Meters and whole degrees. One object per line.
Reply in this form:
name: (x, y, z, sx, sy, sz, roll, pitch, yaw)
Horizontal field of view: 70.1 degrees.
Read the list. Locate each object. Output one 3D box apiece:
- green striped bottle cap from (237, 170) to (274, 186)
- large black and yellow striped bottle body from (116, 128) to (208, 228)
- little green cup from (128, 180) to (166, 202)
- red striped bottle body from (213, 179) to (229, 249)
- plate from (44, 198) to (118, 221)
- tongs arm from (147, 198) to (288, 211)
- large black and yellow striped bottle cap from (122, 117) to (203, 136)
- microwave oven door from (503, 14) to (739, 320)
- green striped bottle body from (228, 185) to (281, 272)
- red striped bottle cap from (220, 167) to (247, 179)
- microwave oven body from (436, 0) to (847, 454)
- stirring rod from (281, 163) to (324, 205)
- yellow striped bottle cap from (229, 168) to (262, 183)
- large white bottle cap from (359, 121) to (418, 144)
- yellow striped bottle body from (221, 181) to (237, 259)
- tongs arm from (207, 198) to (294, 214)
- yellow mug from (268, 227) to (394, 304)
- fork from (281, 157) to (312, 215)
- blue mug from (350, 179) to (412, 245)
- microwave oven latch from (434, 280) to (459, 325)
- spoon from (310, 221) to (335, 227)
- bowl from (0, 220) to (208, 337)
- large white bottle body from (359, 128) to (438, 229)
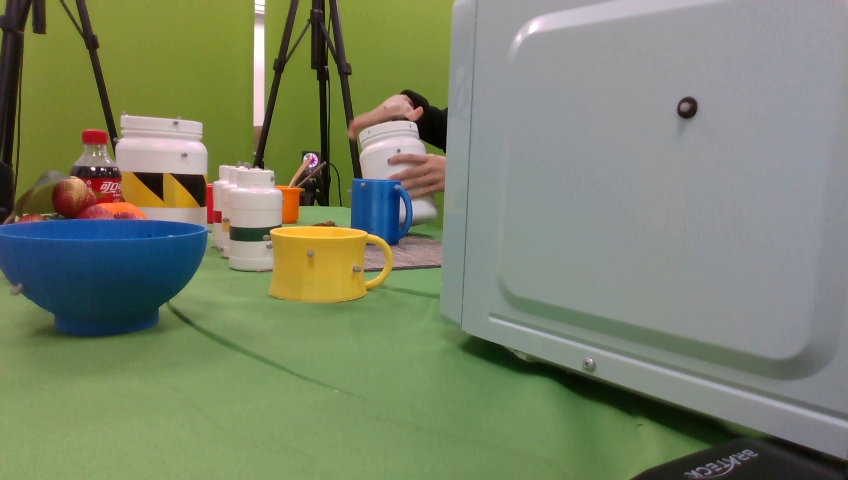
green striped bottle cap: (-0.205, -0.075, 0.737, 0.044, 0.020, 0.044, 1, 6, 0)
large black and yellow striped bottle body: (-0.404, -0.089, 0.937, 0.131, 0.184, 0.130, 3, 7, 0)
little green cup: (-0.485, -0.087, 1.062, 0.061, 0.038, 0.061, -1, 6, 0)
red striped bottle body: (-0.284, -0.048, 0.909, 0.063, 0.119, 0.063, 3, 10, 0)
plate: (-0.617, -0.056, 1.179, 0.209, 0.038, 0.209, 3, 7, 0)
tongs arm: (-0.503, -0.090, 1.513, 0.028, 0.028, 0.389, -1, 3, 38)
large black and yellow striped bottle cap: (-0.399, -0.174, 0.927, 0.115, 0.019, 0.115, 5, 9, -1)
microwave oven door: (0.218, -0.065, 0.600, 0.358, 0.243, 0.039, -4, 10, -41)
green striped bottle body: (-0.208, -0.023, 0.745, 0.063, 0.119, 0.063, 2, 7, 0)
red striped bottle cap: (-0.281, -0.100, 0.901, 0.044, 0.017, 0.044, -1, 5, 0)
microwave oven body: (0.279, -0.040, 0.464, 0.444, 0.260, 0.324, -3, 9, -41)
stirring rod: (-0.278, -0.105, 1.293, 0.176, 0.006, 0.014, -47, 25, -18)
yellow striped bottle cap: (-0.240, -0.087, 0.816, 0.044, 0.018, 0.044, -3, 5, 1)
large white bottle cap: (-0.069, -0.203, 1.164, 0.115, 0.018, 0.115, -11, -5, -1)
yellow striped bottle body: (-0.244, -0.035, 0.823, 0.063, 0.120, 0.063, 2, 8, 0)
tongs arm: (-0.423, -0.084, 1.472, 0.050, 0.026, 0.386, 1, 6, 22)
yellow mug: (-0.094, 0.023, 0.630, 0.131, 0.064, 0.099, 0, 8, -22)
fork: (-0.289, -0.116, 1.321, 0.028, 0.019, 0.207, 6, 51, 19)
blue mug: (-0.068, -0.046, 1.000, 0.116, 0.106, 0.083, 8, 9, 32)
microwave oven latch: (0.044, 0.045, 0.470, 0.079, 0.029, 0.030, -2, 8, -39)
spoon: (-0.185, -0.027, 1.131, 0.041, 0.021, 0.193, -18, 6, 2)
bowl: (-0.251, 0.029, 0.479, 0.151, 0.077, 0.151, 2, 7, 0)
large white bottle body: (-0.052, -0.119, 1.157, 0.131, 0.184, 0.130, -11, -5, -1)
